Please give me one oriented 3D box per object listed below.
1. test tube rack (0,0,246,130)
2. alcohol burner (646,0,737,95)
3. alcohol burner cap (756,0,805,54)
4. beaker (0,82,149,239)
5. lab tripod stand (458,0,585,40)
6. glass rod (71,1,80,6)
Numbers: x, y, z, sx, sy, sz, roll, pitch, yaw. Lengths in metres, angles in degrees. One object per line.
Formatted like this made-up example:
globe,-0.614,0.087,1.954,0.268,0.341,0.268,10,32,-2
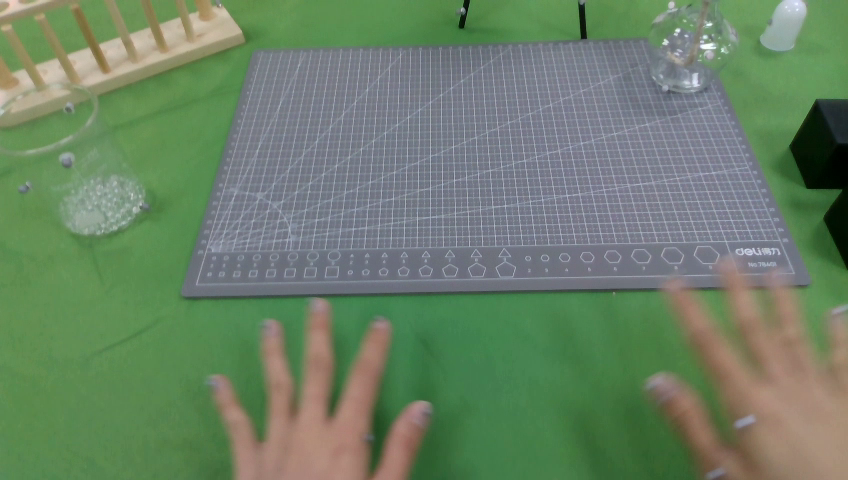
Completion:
test tube rack,-0.307,-0.200,0.580,0.242,0.086,0.066,-26,56,-17
alcohol burner,0.236,-0.187,0.525,0.078,0.120,0.077,-1,54,1
alcohol burner cap,0.348,-0.210,0.587,0.034,0.048,0.033,-1,52,2
beaker,-0.263,-0.054,0.457,0.084,0.101,0.073,-24,55,-14
lab tripod stand,0.107,-0.279,0.594,0.148,0.132,0.147,0,52,0
glass rod,-0.321,-0.240,0.528,0.008,0.201,0.008,2,54,-2
